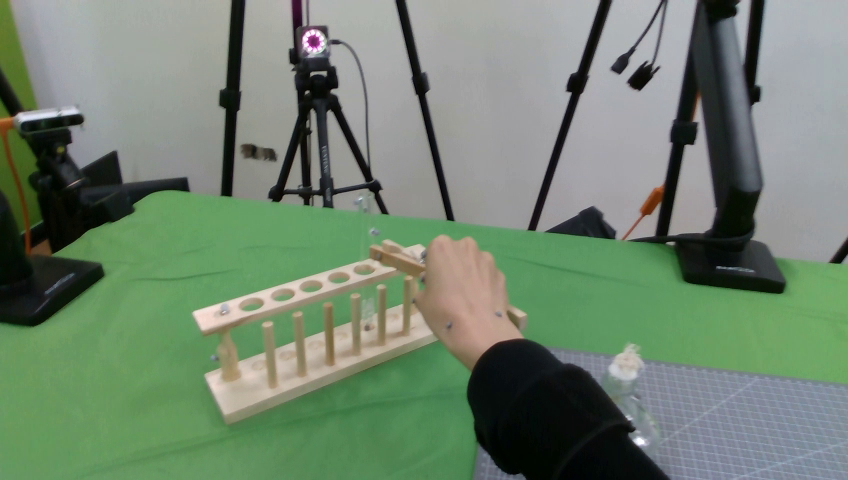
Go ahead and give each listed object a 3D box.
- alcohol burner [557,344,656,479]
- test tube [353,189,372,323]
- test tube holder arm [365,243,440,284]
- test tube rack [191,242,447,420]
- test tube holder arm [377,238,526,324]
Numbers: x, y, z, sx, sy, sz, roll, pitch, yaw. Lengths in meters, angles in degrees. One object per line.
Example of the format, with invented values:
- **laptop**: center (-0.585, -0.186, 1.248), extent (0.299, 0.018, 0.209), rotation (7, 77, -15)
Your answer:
- **alcohol burner**: center (0.147, 0.133, 0.481), extent (0.078, 0.120, 0.077), rotation (1, 27, 0)
- **test tube**: center (-0.062, 0.020, 0.616), extent (0.017, 0.151, 0.017), rotation (1, 26, 0)
- **test tube holder arm**: center (-0.019, 0.021, 0.557), extent (0.087, 0.015, 0.010), rotation (18, 33, 32)
- **test tube rack**: center (-0.093, 0.082, 0.604), extent (0.243, 0.086, 0.066), rotation (-17, 33, -29)
- **test tube holder arm**: center (0.018, 0.032, 0.534), extent (0.176, 0.015, 0.013), rotation (24, 37, 39)
